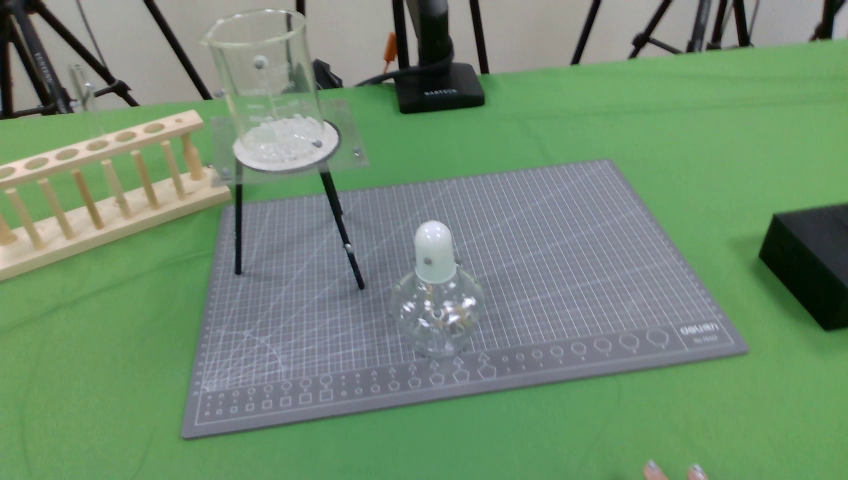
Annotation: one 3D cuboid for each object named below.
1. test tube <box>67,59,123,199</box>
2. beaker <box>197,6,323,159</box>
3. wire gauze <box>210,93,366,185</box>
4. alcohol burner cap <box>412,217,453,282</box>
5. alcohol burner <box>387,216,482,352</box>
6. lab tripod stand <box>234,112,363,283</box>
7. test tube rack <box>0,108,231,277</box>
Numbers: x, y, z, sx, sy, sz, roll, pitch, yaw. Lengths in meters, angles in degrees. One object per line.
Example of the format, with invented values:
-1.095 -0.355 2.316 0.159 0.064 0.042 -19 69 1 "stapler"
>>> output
-0.335 -0.109 0.621 0.017 0.151 0.017 1 34 0 "test tube"
-0.124 -0.122 0.480 0.084 0.101 0.073 -6 40 -2 "beaker"
-0.119 -0.087 0.514 0.125 0.011 0.120 -13 39 -7 "wire gauze"
0.005 0.005 0.459 0.034 0.048 0.033 -3 42 3 "alcohol burner cap"
0.008 0.032 0.482 0.078 0.120 0.077 -2 38 2 "alcohol burner"
-0.116 -0.037 0.557 0.148 0.133 0.147 -2 42 2 "lab tripod stand"
-0.340 -0.054 0.634 0.243 0.086 0.066 -24 44 -23 "test tube rack"
